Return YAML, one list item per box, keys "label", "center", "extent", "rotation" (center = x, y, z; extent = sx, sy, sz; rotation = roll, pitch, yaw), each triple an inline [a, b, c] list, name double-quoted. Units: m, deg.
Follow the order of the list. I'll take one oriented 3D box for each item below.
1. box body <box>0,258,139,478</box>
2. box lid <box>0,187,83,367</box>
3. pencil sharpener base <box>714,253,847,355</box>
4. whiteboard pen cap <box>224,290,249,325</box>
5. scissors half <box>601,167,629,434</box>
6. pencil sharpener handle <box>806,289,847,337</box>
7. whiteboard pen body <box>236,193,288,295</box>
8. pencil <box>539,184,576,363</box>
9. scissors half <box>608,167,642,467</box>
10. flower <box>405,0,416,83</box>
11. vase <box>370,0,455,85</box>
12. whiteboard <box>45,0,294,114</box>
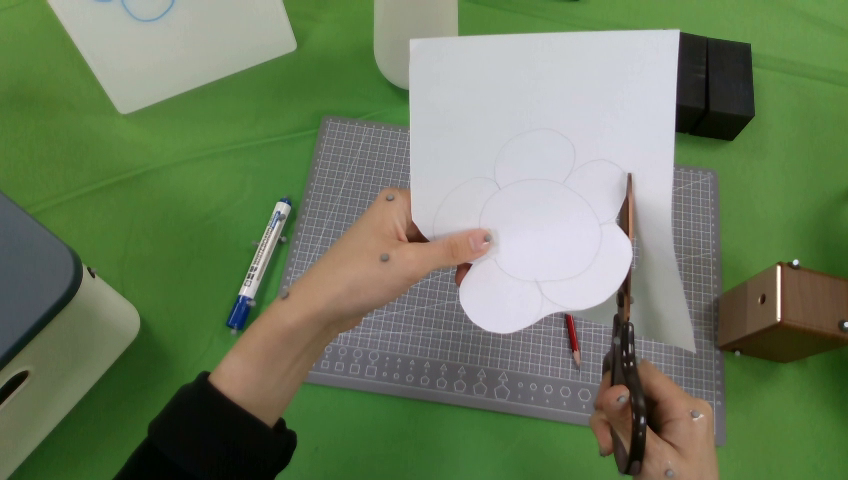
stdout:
- label: "box body"
  center: [-0.474, 0.043, 0.522]
  extent: [0.362, 0.161, 0.253]
  rotation: [34, 72, 11]
- label: "box lid"
  center: [-0.474, 0.014, 0.453]
  extent: [0.370, 0.015, 0.262]
  rotation: [34, 71, 11]
- label: "pencil sharpener base"
  center: [0.334, 0.064, 0.568]
  extent: [0.077, 0.107, 0.061]
  rotation: [12, 68, 0]
- label: "whiteboard pen cap"
  center: [-0.183, 0.066, 0.597]
  extent: [0.018, 0.018, 0.033]
  rotation: [14, 64, 4]
- label: "scissors half"
  center: [0.119, 0.041, 0.373]
  extent: [0.013, 0.040, 0.176]
  rotation: [0, 112, 8]
- label: "pencil sharpener handle"
  center: [0.384, 0.072, 0.557]
  extent: [0.030, 0.068, 0.035]
  rotation: [12, 62, 0]
- label: "whiteboard pen body"
  center: [-0.169, 0.013, 0.620]
  extent: [0.017, 0.017, 0.140]
  rotation: [15, 67, 5]
- label: "pencil"
  center: [0.139, 0.031, 0.626]
  extent: [0.012, 0.012, 0.192]
  rotation: [-5, 71, -3]
- label: "scissors half"
  center: [0.117, 0.045, 0.352]
  extent: [0.013, 0.040, 0.175]
  rotation: [-1, 89, 3]
- label: "flower"
  center: [-0.017, -0.299, 0.561]
  extent: [0.044, 0.365, 0.038]
  rotation: [2, 51, 3]
- label: "vase"
  center: [-0.013, -0.254, 0.633]
  extent: [0.098, 0.201, 0.097]
  rotation: [0, 67, 0]
- label: "whiteboard"
  center: [-0.299, -0.329, 0.629]
  extent: [0.217, 0.308, 0.142]
  rotation: [-25, 52, -10]
